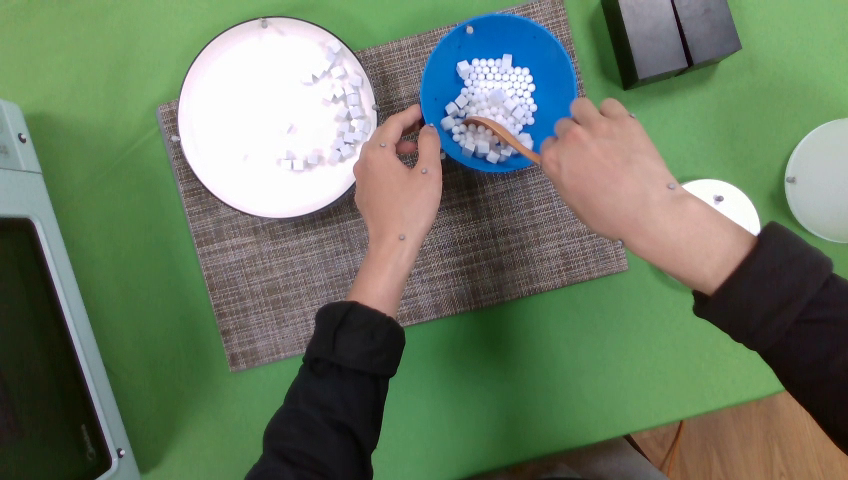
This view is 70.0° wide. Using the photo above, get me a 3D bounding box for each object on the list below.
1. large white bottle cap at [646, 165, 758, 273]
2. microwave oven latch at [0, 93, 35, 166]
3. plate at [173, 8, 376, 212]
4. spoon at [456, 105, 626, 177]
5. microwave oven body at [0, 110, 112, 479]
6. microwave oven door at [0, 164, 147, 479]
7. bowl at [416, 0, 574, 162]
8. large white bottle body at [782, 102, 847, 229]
[{"bbox_3d":[0.297,-0.022,0.647,0.115,0.018,0.115,0,94,0],"label":"large white bottle cap"},{"bbox_3d":[-0.436,-0.113,0.629,0.030,0.029,0.079,-17,93,2],"label":"microwave oven latch"},{"bbox_3d":[-0.153,-0.132,0.636,0.209,0.038,0.209,0,93,1],"label":"plate"},{"bbox_3d":[0.100,-0.089,0.552,0.191,0.042,0.021,35,93,40],"label":"spoon"},{"bbox_3d":[-0.527,0.104,0.547,0.326,0.260,0.442,-18,93,2],"label":"microwave oven body"},{"bbox_3d":[-0.375,0.101,0.539,0.039,0.243,0.356,-18,92,2],"label":"microwave oven door"},{"bbox_3d":[0.068,-0.151,0.610,0.151,0.077,0.151,0,94,2],"label":"bowl"},{"bbox_3d":[0.441,-0.074,0.557,0.130,0.184,0.130,0,93,2],"label":"large white bottle body"}]
